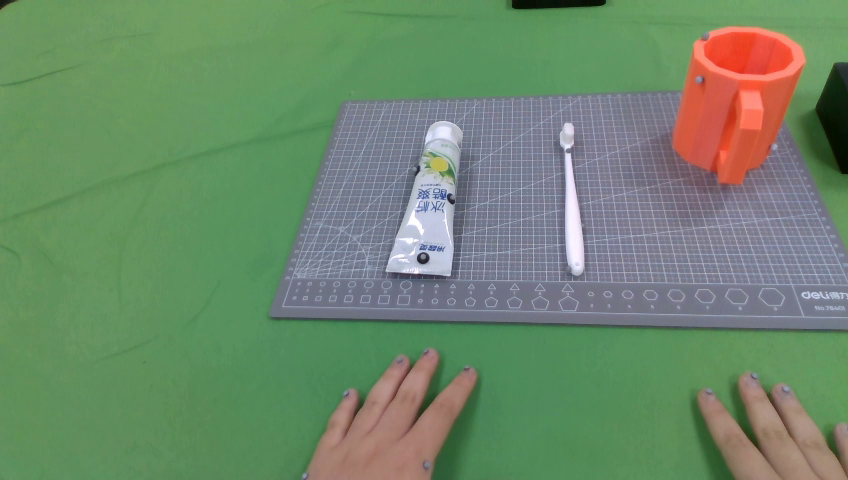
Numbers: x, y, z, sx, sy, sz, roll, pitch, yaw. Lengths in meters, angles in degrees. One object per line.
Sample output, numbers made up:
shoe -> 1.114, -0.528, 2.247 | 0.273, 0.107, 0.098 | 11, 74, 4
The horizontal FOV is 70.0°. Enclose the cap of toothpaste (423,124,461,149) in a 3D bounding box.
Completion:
cap of toothpaste -> 0.017, -0.096, 0.586 | 0.037, 0.038, 0.011 | 3, 51, 10

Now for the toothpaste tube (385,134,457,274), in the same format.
toothpaste tube -> 0.004, -0.037, 0.538 | 0.055, 0.035, 0.163 | -1, 49, 12

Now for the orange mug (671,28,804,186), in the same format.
orange mug -> 0.266, -0.110, 0.522 | 0.083, 0.102, 0.125 | 6, 44, 14

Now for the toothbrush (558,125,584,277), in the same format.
toothbrush -> 0.129, -0.041, 0.533 | 0.014, 0.017, 0.180 | 9, 49, -2
